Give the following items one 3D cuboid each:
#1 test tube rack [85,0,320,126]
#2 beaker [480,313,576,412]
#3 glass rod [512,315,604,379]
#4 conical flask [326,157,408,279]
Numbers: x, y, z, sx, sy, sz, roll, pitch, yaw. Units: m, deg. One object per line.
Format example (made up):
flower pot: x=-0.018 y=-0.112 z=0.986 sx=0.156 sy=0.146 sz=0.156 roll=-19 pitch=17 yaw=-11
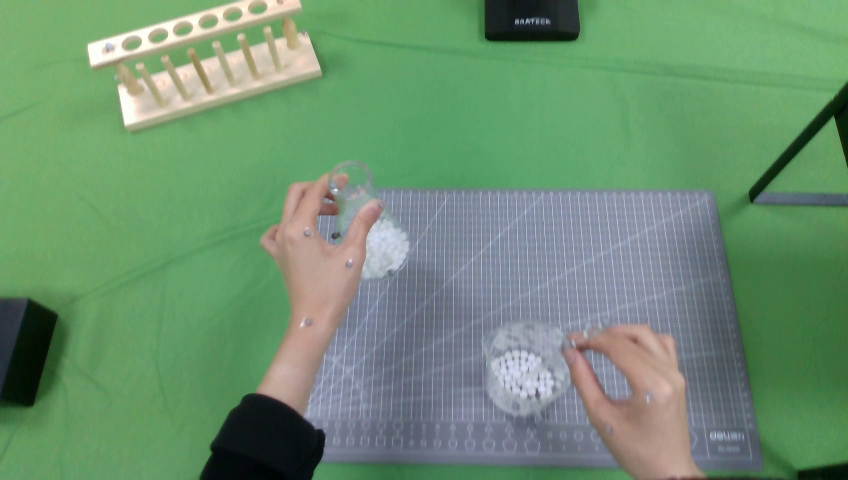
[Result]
test tube rack: x=-0.256 y=-0.221 z=0.721 sx=0.242 sy=0.086 sz=0.066 roll=-19 pitch=67 yaw=-7
beaker: x=0.088 y=0.116 z=0.556 sx=0.083 sy=0.101 sz=0.073 roll=23 pitch=68 yaw=12
glass rod: x=0.103 y=0.092 z=0.497 sx=0.008 sy=0.200 sz=0.008 roll=4 pitch=66 yaw=-8
conical flask: x=-0.057 y=-0.023 z=0.544 sx=0.075 sy=0.123 sz=0.074 roll=-2 pitch=58 yaw=4
